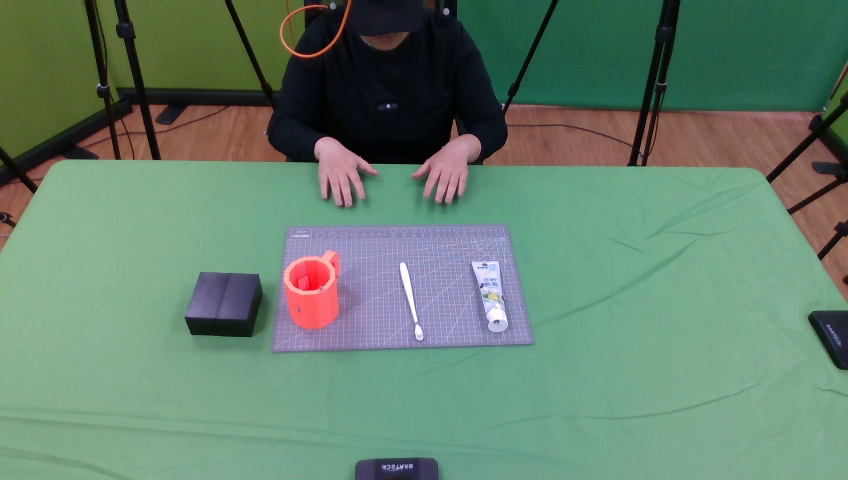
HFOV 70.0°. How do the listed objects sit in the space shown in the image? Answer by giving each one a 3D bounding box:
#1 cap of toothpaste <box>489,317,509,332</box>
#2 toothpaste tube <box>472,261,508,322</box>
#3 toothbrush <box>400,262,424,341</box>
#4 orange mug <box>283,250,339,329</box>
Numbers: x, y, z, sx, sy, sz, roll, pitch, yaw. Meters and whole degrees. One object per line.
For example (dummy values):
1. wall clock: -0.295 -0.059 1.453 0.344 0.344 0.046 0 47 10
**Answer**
1. cap of toothpaste: 0.130 0.145 1.050 0.037 0.037 0.011 -1 42 -5
2. toothpaste tube: 0.126 0.094 1.109 0.055 0.034 0.164 3 41 -9
3. toothbrush: -0.025 0.106 1.093 0.014 0.017 0.180 -18 46 2
4. orange mug: -0.186 0.078 1.052 0.083 0.101 0.126 20 52 15
